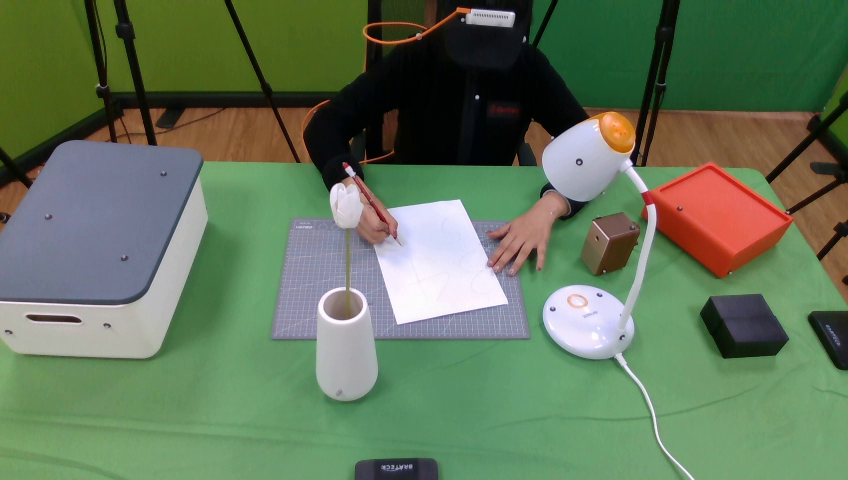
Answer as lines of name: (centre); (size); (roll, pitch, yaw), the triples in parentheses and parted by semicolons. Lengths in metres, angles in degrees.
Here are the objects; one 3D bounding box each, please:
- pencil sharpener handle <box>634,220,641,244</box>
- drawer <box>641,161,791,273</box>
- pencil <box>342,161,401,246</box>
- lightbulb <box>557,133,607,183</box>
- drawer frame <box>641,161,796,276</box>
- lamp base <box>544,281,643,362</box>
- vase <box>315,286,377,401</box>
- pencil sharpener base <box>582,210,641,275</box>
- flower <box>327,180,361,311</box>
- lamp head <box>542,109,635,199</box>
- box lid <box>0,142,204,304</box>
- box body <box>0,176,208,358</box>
pencil sharpener handle: (0.405, -0.015, 1.162); (0.031, 0.068, 0.035); (-15, 45, -18)
drawer: (0.596, -0.051, 1.246); (0.194, 0.073, 0.210); (-23, 52, -25)
pencil: (-0.098, -0.068, 1.162); (0.012, 0.012, 0.194); (-43, 105, -35)
lightbulb: (0.243, -0.127, 0.917); (0.060, 0.108, 0.059); (6, 67, -14)
drawer frame: (0.599, -0.051, 1.244); (0.202, 0.083, 0.212); (-24, 52, -25)
lamp base: (0.303, 0.095, 1.014); (0.161, 0.181, 0.178); (-24, 54, -24)
vase: (-0.119, 0.159, 0.911); (0.098, 0.201, 0.097); (2, 47, -2)
pencil sharpener base: (0.357, 0.005, 1.156); (0.077, 0.107, 0.061); (-15, 48, -18)
flower: (-0.110, 0.086, 0.867); (0.044, 0.363, 0.038); (22, 33, 36)
lamp head: (0.253, -0.131, 0.893); (0.113, 0.123, 0.112); (10, 66, -24)
box lid: (-0.534, -0.044, 0.995); (0.263, 0.015, 0.369); (3, 45, -3)
box body: (-0.546, 0.017, 1.045); (0.254, 0.161, 0.361); (2, 46, -2)
